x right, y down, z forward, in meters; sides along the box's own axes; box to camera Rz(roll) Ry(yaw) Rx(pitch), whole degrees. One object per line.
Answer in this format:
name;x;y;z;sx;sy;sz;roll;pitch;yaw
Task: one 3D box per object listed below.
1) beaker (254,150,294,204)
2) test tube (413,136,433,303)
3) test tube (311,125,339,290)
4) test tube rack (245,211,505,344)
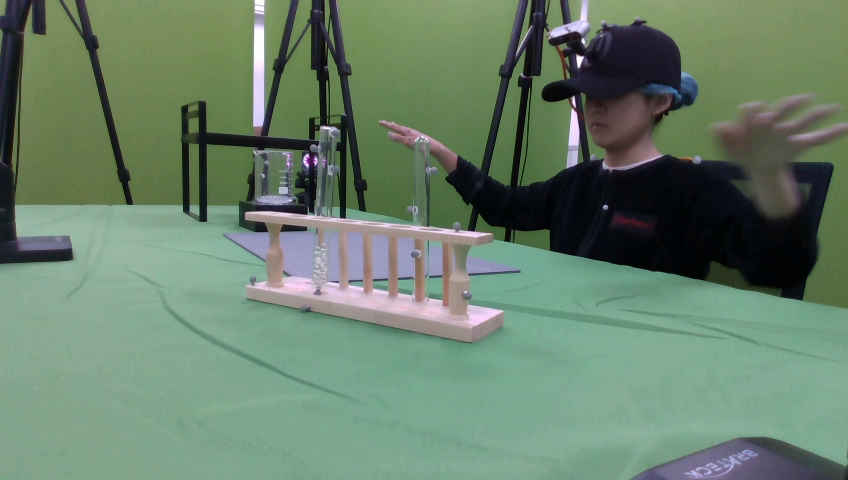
beaker;-0.289;-0.120;1.151;0.073;0.100;0.084;8;9;33
test tube;-0.002;-0.016;0.538;0.017;0.150;0.017;1;8;0
test tube;-0.090;-0.028;0.545;0.017;0.150;0.017;6;11;-1
test tube rack;-0.049;0.025;0.547;0.241;0.085;0.067;7;8;29
